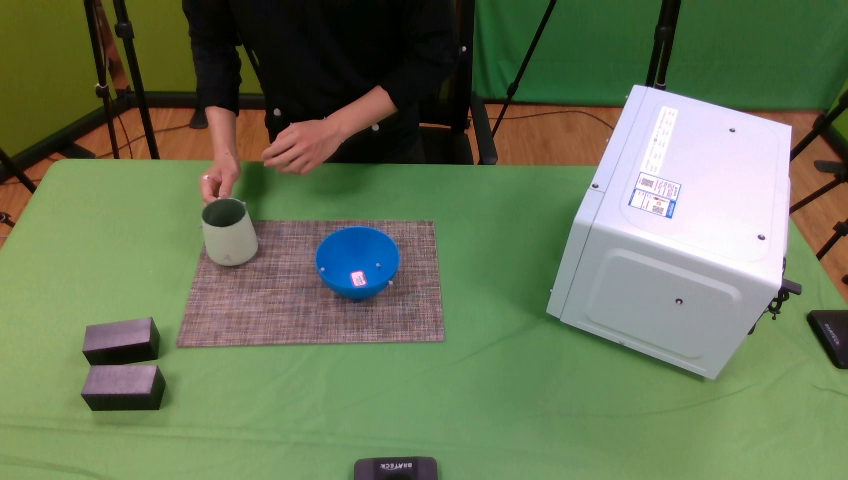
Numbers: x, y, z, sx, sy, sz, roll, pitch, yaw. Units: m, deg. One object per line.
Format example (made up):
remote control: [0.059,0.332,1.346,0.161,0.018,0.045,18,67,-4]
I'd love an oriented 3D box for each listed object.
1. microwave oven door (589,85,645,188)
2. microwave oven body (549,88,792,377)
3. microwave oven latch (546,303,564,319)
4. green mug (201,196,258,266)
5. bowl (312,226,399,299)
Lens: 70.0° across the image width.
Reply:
microwave oven door: [0.342,-0.107,1.149,0.039,0.245,0.354,20,48,15]
microwave oven body: [0.456,-0.028,1.088,0.325,0.261,0.440,20,47,16]
microwave oven latch: [0.242,0.102,1.081,0.030,0.029,0.079,21,48,17]
green mug: [-0.366,-0.025,1.130,0.092,0.105,0.124,-13,48,-16]
bowl: [-0.120,0.054,1.091,0.151,0.077,0.150,2,46,-2]
